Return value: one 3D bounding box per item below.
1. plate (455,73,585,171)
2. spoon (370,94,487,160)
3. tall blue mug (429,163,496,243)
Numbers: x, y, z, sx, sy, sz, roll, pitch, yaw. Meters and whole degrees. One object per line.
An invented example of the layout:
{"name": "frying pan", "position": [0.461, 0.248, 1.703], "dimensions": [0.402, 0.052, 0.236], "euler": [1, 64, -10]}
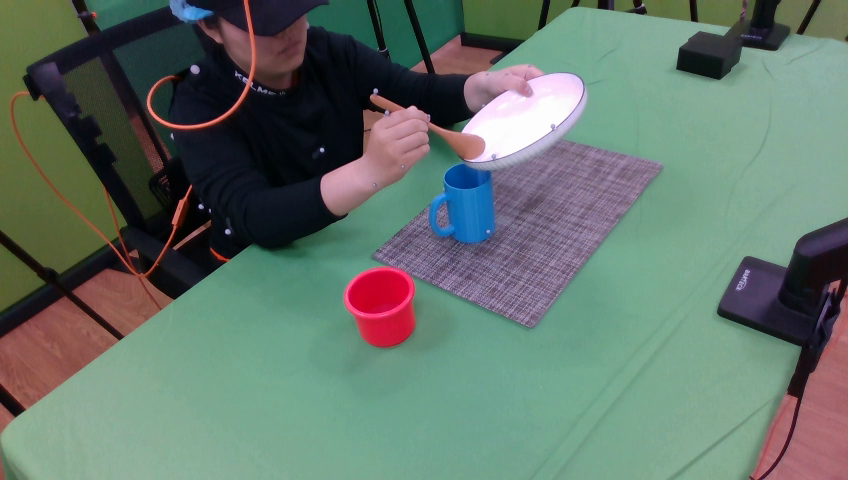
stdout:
{"name": "plate", "position": [0.144, -0.170, 0.901], "dimensions": [0.207, 0.039, 0.206], "euler": [-26, 31, 18]}
{"name": "spoon", "position": [0.009, -0.160, 0.852], "dimensions": [0.195, 0.041, 0.021], "euler": [22, 28, -24]}
{"name": "tall blue mug", "position": [0.067, -0.051, 0.960], "dimensions": [0.077, 0.108, 0.107], "euler": [18, 47, 27]}
